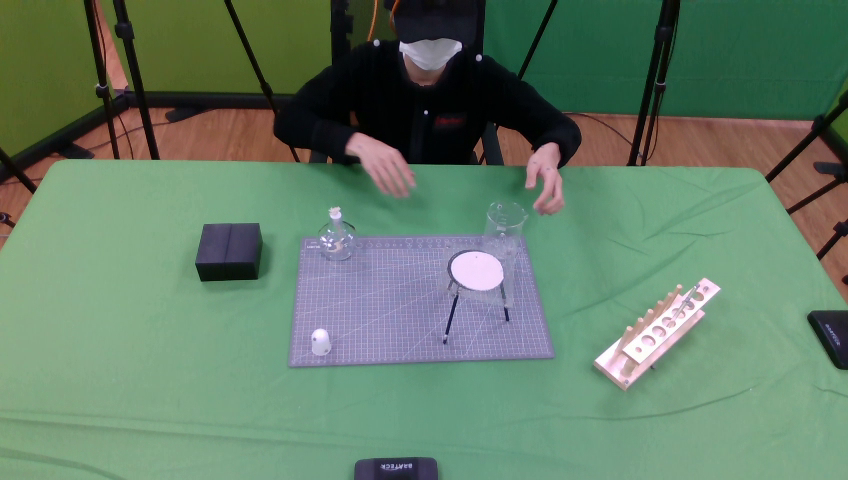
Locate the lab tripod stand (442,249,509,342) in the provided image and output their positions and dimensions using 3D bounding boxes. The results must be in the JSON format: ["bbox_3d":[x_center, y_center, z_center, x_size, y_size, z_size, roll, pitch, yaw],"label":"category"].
[{"bbox_3d":[0.081,0.091,1.036,0.148,0.132,0.147,3,44,-3],"label":"lab tripod stand"}]

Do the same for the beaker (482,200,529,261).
[{"bbox_3d":[0.153,-0.016,1.169,0.084,0.101,0.073,-2,46,-7],"label":"beaker"}]

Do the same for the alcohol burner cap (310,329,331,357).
[{"bbox_3d":[-0.173,0.168,1.004,0.034,0.048,0.033,2,46,-2],"label":"alcohol burner cap"}]

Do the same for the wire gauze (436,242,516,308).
[{"bbox_3d":[0.087,0.051,0.981,0.125,0.011,0.121,10,45,3],"label":"wire gauze"}]

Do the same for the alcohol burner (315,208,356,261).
[{"bbox_3d":[-0.166,-0.017,1.134,0.078,0.119,0.077,2,48,-2],"label":"alcohol burner"}]

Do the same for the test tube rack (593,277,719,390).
[{"bbox_3d":[0.401,0.148,1.043,0.242,0.085,0.066,-30,55,-29],"label":"test tube rack"}]

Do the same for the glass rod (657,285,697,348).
[{"bbox_3d":[0.401,0.128,0.971,0.008,0.201,0.008,0,53,1],"label":"glass rod"}]
